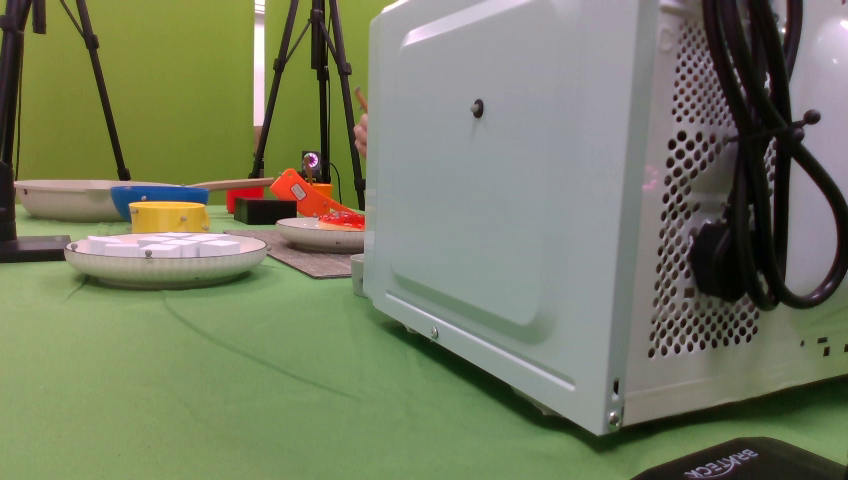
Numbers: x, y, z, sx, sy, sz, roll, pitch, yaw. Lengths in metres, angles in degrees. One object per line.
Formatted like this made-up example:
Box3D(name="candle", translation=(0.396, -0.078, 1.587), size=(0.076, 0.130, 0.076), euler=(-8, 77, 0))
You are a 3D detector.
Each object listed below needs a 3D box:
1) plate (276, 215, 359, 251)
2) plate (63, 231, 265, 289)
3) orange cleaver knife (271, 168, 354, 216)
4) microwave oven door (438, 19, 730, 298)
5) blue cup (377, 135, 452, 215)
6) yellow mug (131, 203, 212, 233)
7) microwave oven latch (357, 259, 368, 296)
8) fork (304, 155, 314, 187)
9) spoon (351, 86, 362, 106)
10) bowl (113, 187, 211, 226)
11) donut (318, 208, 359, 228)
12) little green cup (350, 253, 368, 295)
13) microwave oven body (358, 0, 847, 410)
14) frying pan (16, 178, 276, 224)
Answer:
Box3D(name="plate", translation=(-0.126, -0.012, 0.950), size=(0.209, 0.038, 0.209), euler=(2, 7, 0))
Box3D(name="plate", translation=(-0.288, 0.021, 0.687), size=(0.208, 0.039, 0.207), euler=(2, 8, 0))
Box3D(name="orange cleaver knife", translation=(-0.237, -0.084, 1.332), size=(0.212, 0.077, 0.012), euler=(31, -9, -31))
Box3D(name="microwave oven door", translation=(0.181, -0.076, 0.618), size=(0.358, 0.243, 0.039), euler=(-2, 8, -28))
Box3D(name="blue cup", translation=(-0.009, -0.096, 0.961), size=(0.092, 0.100, 0.092), euler=(-39, 1, 1))
Box3D(name="yellow mug", translation=(-0.356, -0.020, 0.878), size=(0.099, 0.064, 0.131), euler=(5, 7, 22))
Box3D(name="microwave oven latch", translation=(-0.019, 0.031, 0.528), size=(0.079, 0.029, 0.030), euler=(-1, 7, -25))
Box3D(name="fork", translation=(-0.268, -0.134, 1.446), size=(0.028, 0.018, 0.207), euler=(2, -36, -1))
Box3D(name="spoon", translation=(-0.063, -0.158, 0.960), size=(0.022, 0.193, 0.041), euler=(-28, 1, -18))
Box3D(name="bowl", translation=(-0.437, -0.046, 1.013), size=(0.151, 0.077, 0.151), euler=(2, 7, 0))
Box3D(name="donut", translation=(-0.118, -0.024, 0.954), size=(0.099, 0.048, 0.099), euler=(5, 7, 0))
Box3D(name="little green cup", translation=(-0.048, 0.035, 0.632), size=(0.061, 0.038, 0.061), euler=(3, 6, 0))
Box3D(name="microwave oven body", translation=(0.210, -0.051, 0.471), size=(0.444, 0.260, 0.324), euler=(-1, 7, -28))
Box3D(name="frying pan", translation=(-0.554, -0.097, 1.266), size=(0.490, 0.102, 0.305), euler=(-10, 13, -24))
